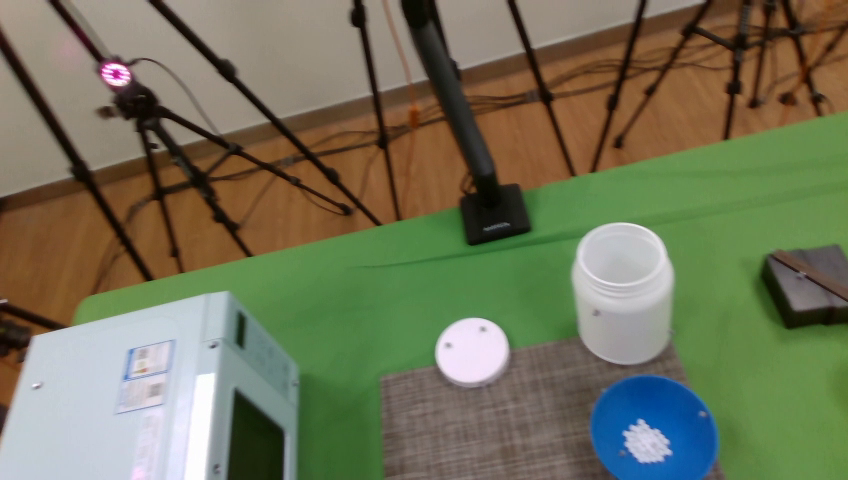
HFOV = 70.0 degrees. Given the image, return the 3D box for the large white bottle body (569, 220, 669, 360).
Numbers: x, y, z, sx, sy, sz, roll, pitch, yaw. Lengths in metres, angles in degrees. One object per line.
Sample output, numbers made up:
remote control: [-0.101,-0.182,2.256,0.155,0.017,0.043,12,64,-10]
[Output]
large white bottle body: [0.274,0.071,0.855,0.130,0.186,0.129,-9,48,11]

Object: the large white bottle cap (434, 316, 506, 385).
large white bottle cap: [0.072,0.172,0.951,0.114,0.018,0.113,-8,51,11]

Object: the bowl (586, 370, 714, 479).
bowl: [0.287,0.253,0.782,0.151,0.077,0.150,-9,52,12]

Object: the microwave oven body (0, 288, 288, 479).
microwave oven body: [-0.370,0.339,0.802,0.326,0.263,0.437,-14,52,6]

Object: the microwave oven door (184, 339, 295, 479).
microwave oven door: [-0.226,0.332,0.756,0.039,0.246,0.352,-14,51,7]

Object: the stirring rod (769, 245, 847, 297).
stirring rod: [0.557,0.057,0.831,0.174,0.006,0.014,41,108,36]

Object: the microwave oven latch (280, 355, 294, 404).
microwave oven latch: [-0.224,0.225,0.970,0.030,0.030,0.078,-13,52,6]
